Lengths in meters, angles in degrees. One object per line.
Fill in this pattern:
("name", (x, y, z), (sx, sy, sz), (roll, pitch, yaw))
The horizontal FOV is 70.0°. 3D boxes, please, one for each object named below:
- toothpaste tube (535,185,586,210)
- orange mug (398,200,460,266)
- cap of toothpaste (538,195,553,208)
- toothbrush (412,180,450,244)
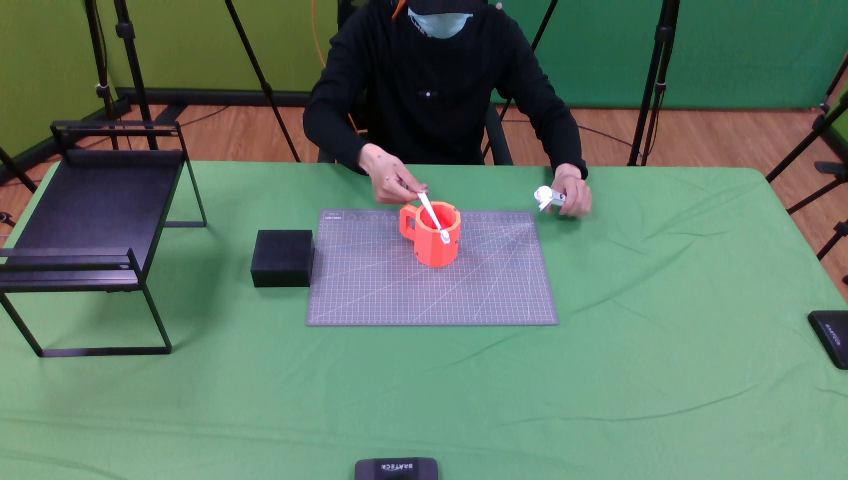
("toothpaste tube", (0.273, -0.084, 1.223), (0.055, 0.034, 0.166), (39, 19, 35))
("orange mug", (0.007, -0.020, 1.161), (0.126, 0.101, 0.083), (27, 50, 15))
("cap of toothpaste", (0.229, -0.074, 1.146), (0.011, 0.037, 0.037), (48, 55, -1))
("toothbrush", (0.010, -0.057, 1.114), (0.014, 0.017, 0.180), (-19, 46, -8))
